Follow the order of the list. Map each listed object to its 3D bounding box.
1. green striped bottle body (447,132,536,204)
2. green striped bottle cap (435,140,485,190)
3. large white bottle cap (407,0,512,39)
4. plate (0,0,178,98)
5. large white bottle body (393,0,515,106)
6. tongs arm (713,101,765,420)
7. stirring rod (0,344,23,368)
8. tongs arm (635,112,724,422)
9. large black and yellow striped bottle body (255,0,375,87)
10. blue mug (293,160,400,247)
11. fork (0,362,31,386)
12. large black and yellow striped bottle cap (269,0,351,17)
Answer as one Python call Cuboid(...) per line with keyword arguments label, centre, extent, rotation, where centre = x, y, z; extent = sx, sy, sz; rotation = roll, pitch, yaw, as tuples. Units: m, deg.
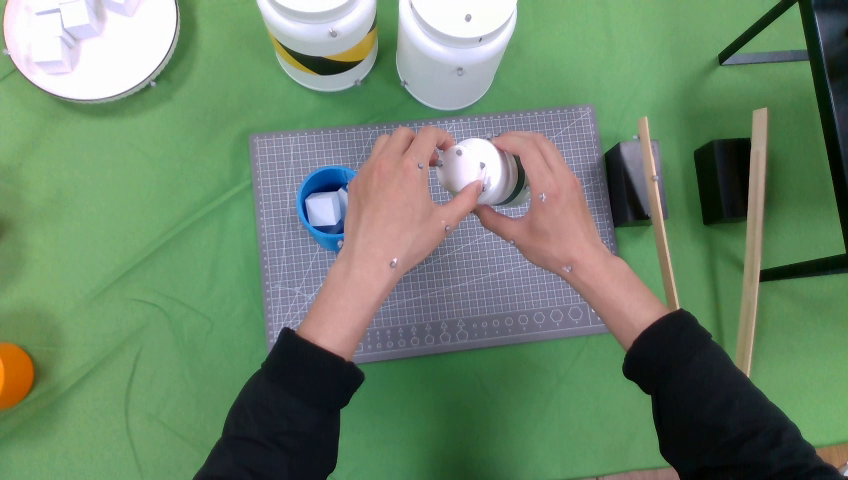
Cuboid(label="green striped bottle body", centre=(0.061, -0.070, 0.598), extent=(0.063, 0.120, 0.063), rotation=(0, 90, 32))
Cuboid(label="green striped bottle cap", centre=(0.032, -0.068, 0.550), extent=(0.044, 0.020, 0.044), rotation=(2, 95, 32))
Cuboid(label="large white bottle cap", centre=(0.037, -0.264, 0.624), extent=(0.115, 0.018, 0.114), rotation=(1, 82, -5))
Cuboid(label="plate", centre=(-0.407, -0.272, 0.749), extent=(0.208, 0.039, 0.207), rotation=(1, 83, -4))
Cuboid(label="large white bottle body", centre=(0.032, -0.250, 0.707), extent=(0.131, 0.185, 0.130), rotation=(1, 81, -5))
Cuboid(label="tongs arm", centre=(0.389, 0.027, 0.741), extent=(0.028, 0.027, 0.387), rotation=(2, 93, -13))
Cuboid(label="stirring rod", centre=(-0.501, 0.166, 0.632), extent=(0.014, 0.006, 0.175), rotation=(40, 39, -1))
Cuboid(label="tongs arm", centre=(0.308, 0.035, 0.731), extent=(0.051, 0.026, 0.385), rotation=(-11, 95, -9))
Cuboid(label="large black and yellow striped bottle body", centre=(-0.122, -0.270, 0.698), extent=(0.131, 0.184, 0.130), rotation=(1, 81, -4))
Cuboid(label="blue mug", centre=(-0.087, -0.038, 0.707), extent=(0.117, 0.106, 0.082), rotation=(1, 81, -5))
Cuboid(label="fork", centre=(-0.528, 0.131, 0.629), extent=(0.209, 0.018, 0.028), rotation=(21, 75, -45))
Cuboid(label="large black and yellow striped bottle cap", centre=(-0.117, -0.284, 0.616), extent=(0.115, 0.019, 0.114), rotation=(1, 83, -6))
